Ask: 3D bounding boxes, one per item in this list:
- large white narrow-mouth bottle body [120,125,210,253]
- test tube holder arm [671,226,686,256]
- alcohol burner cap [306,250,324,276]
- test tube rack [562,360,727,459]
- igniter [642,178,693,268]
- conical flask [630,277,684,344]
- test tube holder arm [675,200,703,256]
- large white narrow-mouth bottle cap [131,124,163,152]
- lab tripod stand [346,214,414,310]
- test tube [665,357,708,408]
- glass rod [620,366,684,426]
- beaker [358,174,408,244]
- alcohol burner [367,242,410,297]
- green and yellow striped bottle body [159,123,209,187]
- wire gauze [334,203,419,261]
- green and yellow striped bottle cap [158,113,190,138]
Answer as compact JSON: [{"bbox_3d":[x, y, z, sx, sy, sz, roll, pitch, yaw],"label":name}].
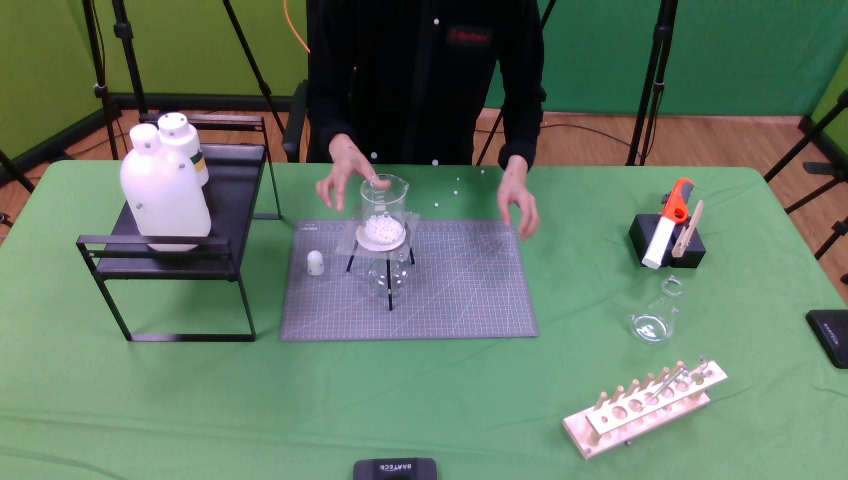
[{"bbox_3d":[-0.378,-0.078,0.875,0.102,0.195,0.101,3,46,-3],"label":"large white narrow-mouth bottle body"},{"bbox_3d":[0.494,0.001,1.167,0.010,0.015,0.087,1,36,42],"label":"test tube holder arm"},{"bbox_3d":[-0.204,0.040,1.125,0.034,0.048,0.033,2,46,-2],"label":"alcohol burner cap"},{"bbox_3d":[0.341,0.247,0.940,0.243,0.085,0.066,-16,49,-18],"label":"test tube rack"},{"bbox_3d":[0.488,-0.042,1.205,0.057,0.025,0.276,30,51,11],"label":"igniter"},{"bbox_3d":[0.408,0.117,1.045,0.075,0.122,0.075,2,46,-2],"label":"conical flask"},{"bbox_3d":[0.523,-0.025,1.190,0.013,0.015,0.178,1,36,41],"label":"test tube holder arm"},{"bbox_3d":[-0.371,-0.137,0.813,0.038,0.024,0.037,3,46,-3],"label":"large white narrow-mouth bottle cap"},{"bbox_3d":[-0.075,0.030,1.082,0.148,0.132,0.147,1,47,-1],"label":"lab tripod stand"},{"bbox_3d":[0.387,0.216,0.905,0.017,0.151,0.017,1,52,-1],"label":"test tube"},{"bbox_3d":[0.322,0.227,0.866,0.008,0.200,0.008,6,51,-7],"label":"glass rod"},{"bbox_3d":[-0.066,-0.050,1.000,0.084,0.101,0.073,-18,49,-20],"label":"beaker"},{"bbox_3d":[-0.064,0.047,1.080,0.078,0.120,0.077,1,47,-1],"label":"alcohol burner"},{"bbox_3d":[-0.395,-0.145,0.989,0.063,0.120,0.063,2,46,-2],"label":"green and yellow striped bottle body"},{"bbox_3d":[-0.079,-0.013,1.031,0.121,0.011,0.124,8,48,7],"label":"wire gauze"},{"bbox_3d":[-0.393,-0.180,0.951,0.045,0.020,0.045,2,44,-2],"label":"green and yellow striped bottle cap"}]
